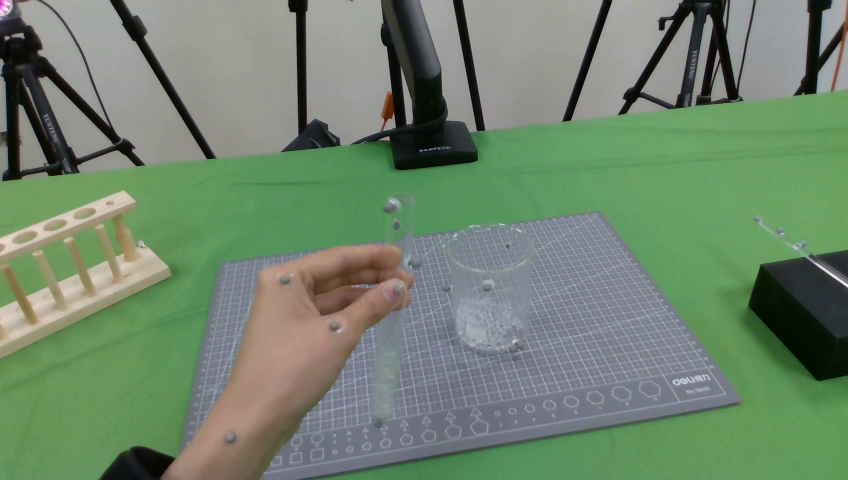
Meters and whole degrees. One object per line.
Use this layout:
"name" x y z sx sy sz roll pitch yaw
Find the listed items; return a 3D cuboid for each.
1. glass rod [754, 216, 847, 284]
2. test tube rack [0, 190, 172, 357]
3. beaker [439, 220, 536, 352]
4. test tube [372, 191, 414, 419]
"glass rod" 0.364 0.029 0.531 0.008 0.008 0.197 -13 36 -13
"test tube rack" -0.392 0.043 0.603 0.242 0.086 0.066 -30 43 -33
"beaker" 0.056 0.044 0.543 0.084 0.101 0.073 5 36 14
"test tube" -0.020 0.044 0.367 0.017 0.151 0.017 5 20 -1
